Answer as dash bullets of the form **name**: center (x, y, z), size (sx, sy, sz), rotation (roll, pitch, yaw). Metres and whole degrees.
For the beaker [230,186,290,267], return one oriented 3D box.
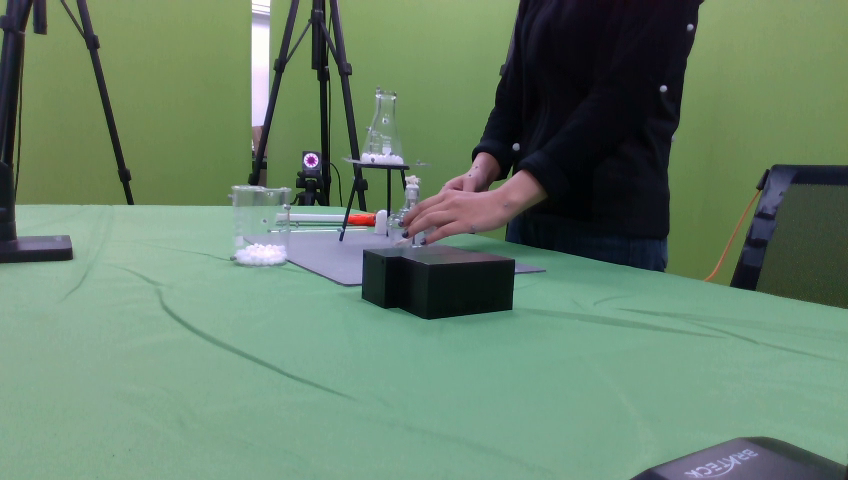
- **beaker**: center (-0.209, -0.019, 0.778), size (0.074, 0.100, 0.084), rotation (3, 6, 4)

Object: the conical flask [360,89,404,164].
- **conical flask**: center (-0.067, -0.189, 1.010), size (0.075, 0.122, 0.075), rotation (4, 6, 0)

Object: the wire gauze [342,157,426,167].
- **wire gauze**: center (-0.065, -0.130, 1.016), size (0.122, 0.011, 0.124), rotation (2, 5, -27)

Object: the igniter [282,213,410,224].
- **igniter**: center (-0.159, -0.046, 1.287), size (0.278, 0.025, 0.057), rotation (-1, -3, -21)

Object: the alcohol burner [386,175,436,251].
- **alcohol burner**: center (-0.019, -0.042, 0.940), size (0.078, 0.119, 0.078), rotation (4, 8, 0)

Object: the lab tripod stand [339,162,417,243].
- **lab tripod stand**: center (-0.067, -0.065, 1.027), size (0.148, 0.131, 0.148), rotation (4, 7, 0)

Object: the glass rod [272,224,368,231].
- **glass rod**: center (-0.197, -0.024, 1.169), size (0.201, 0.008, 0.008), rotation (-3, 9, -34)

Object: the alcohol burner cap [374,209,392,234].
- **alcohol burner cap**: center (-0.078, -0.036, 1.148), size (0.034, 0.048, 0.034), rotation (2, 7, 0)
